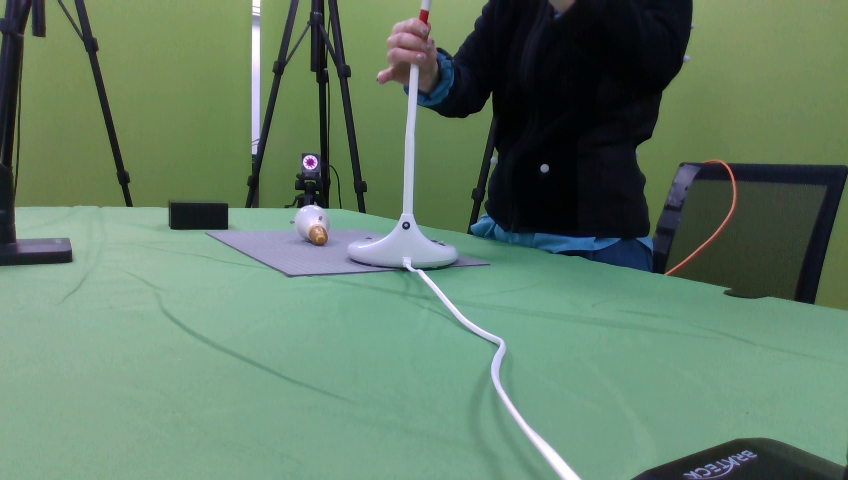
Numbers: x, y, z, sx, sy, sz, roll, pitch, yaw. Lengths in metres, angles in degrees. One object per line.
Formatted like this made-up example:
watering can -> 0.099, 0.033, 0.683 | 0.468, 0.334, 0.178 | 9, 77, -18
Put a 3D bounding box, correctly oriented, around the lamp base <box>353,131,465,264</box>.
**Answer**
lamp base -> -0.014, -0.062, 0.851 | 0.161, 0.180, 0.178 | -1, 11, -20
